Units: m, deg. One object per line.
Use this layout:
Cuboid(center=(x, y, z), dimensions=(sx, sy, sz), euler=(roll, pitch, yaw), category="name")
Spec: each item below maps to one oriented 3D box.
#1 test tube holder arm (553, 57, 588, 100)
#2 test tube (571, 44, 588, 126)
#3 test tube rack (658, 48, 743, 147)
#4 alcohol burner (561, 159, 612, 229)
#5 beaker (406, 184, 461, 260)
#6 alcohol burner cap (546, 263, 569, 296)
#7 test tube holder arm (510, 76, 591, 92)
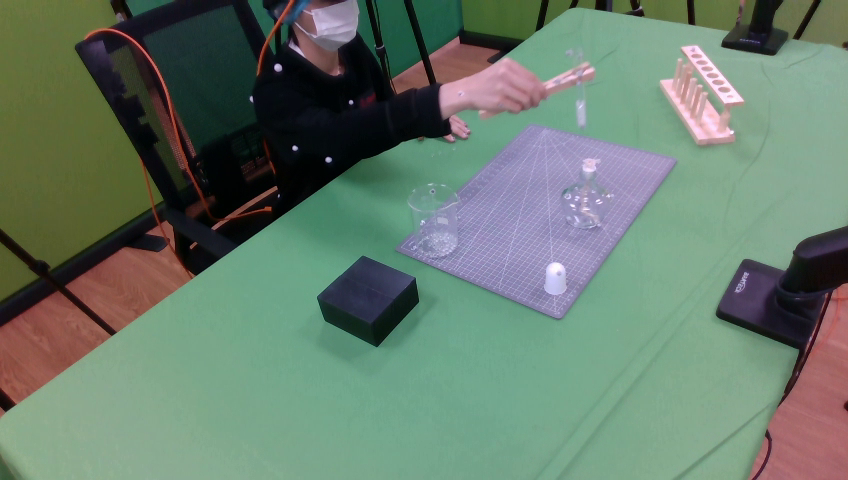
Cuboid(center=(0.214, -0.236, 0.884), dimensions=(0.015, 0.010, 0.088), euler=(16, 60, 44), category="test tube holder arm")
Cuboid(center=(0.238, -0.231, 0.919), dimensions=(0.017, 0.151, 0.017), euler=(-9, 51, 13), category="test tube")
Cuboid(center=(0.532, -0.284, 1.181), dimensions=(0.067, 0.085, 0.241), euler=(-5, 40, 4), category="test tube rack")
Cuboid(center=(0.257, -0.077, 0.951), dimensions=(0.078, 0.119, 0.077), euler=(-3, 40, 3), category="alcohol burner")
Cuboid(center=(0.019, -0.026, 0.939), dimensions=(0.084, 0.101, 0.074), euler=(1, 41, 10), category="beaker")
Cuboid(center=(0.191, 0.053, 0.862), dimensions=(0.034, 0.048, 0.033), euler=(-5, 40, 4), category="alcohol burner cap")
Cuboid(center=(0.182, -0.222, 0.856), dimensions=(0.179, 0.013, 0.015), euler=(-17, 26, -41), category="test tube holder arm")
